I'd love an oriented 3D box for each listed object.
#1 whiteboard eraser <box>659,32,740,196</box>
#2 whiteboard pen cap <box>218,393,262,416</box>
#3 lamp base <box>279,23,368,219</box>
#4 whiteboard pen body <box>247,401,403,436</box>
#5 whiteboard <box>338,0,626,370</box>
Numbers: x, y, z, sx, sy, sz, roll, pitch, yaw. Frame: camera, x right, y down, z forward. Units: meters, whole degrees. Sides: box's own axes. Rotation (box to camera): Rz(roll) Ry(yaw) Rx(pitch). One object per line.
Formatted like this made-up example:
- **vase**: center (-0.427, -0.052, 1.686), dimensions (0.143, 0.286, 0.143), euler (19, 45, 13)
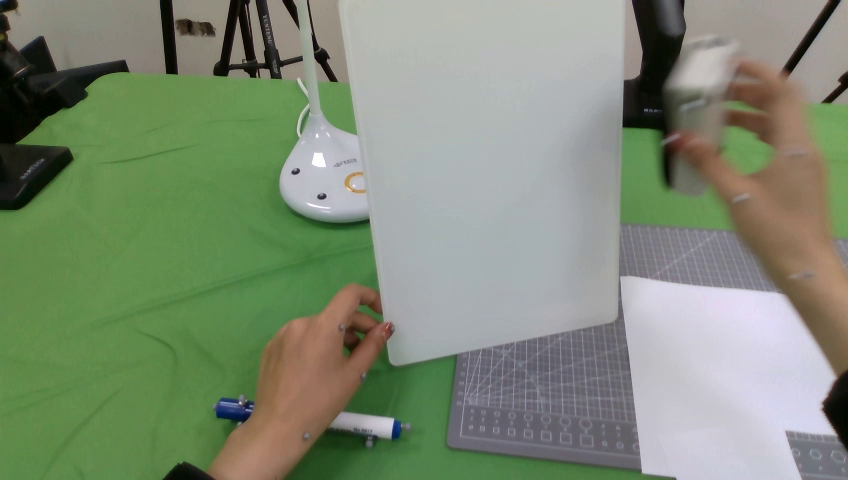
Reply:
- **whiteboard eraser**: center (0.198, -0.088, 0.441), dimensions (0.041, 0.114, 0.055), euler (25, 64, 31)
- **whiteboard pen cap**: center (-0.146, 0.132, 0.484), dimensions (0.033, 0.018, 0.018), euler (5, 41, 3)
- **lamp base**: center (-0.104, -0.142, 0.689), dimensions (0.161, 0.182, 0.177), euler (-29, 46, -29)
- **whiteboard pen body**: center (-0.087, 0.139, 0.477), dimensions (0.141, 0.017, 0.017), euler (5, 41, 3)
- **whiteboard**: center (0.048, -0.069, 0.550), dimensions (0.217, 0.307, 0.142), euler (-9, 22, -9)
